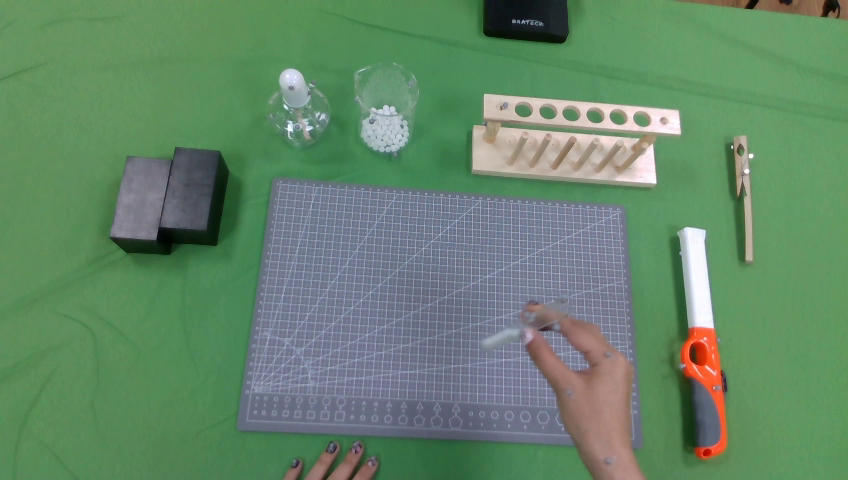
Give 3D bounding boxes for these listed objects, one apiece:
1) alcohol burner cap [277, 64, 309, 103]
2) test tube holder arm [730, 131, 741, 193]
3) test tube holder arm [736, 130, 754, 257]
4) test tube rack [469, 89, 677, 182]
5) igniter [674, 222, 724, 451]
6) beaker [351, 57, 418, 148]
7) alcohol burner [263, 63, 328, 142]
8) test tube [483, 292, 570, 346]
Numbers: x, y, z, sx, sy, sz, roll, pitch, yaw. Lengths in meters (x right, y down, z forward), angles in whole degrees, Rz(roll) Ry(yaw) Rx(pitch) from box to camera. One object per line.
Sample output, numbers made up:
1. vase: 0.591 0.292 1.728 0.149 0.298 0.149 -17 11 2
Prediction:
1. alcohol burner cap: -0.151 -0.181 0.691 0.034 0.048 0.033 1 76 -3
2. test tube holder arm: 0.422 -0.106 0.818 0.010 0.015 0.087 -6 69 29
3. test tube holder arm: 0.424 -0.064 0.801 0.013 0.015 0.177 -8 68 28
4. test tube rack: 0.184 -0.129 0.764 0.243 0.085 0.066 4 70 -5
5. igniter: 0.329 0.109 0.729 0.057 0.025 0.274 8 70 -14
6. beaker: -0.052 -0.165 0.743 0.084 0.101 0.074 31 70 6
7. alcohol burner: -0.155 -0.169 0.725 0.078 0.119 0.077 2 69 -5
8. test tube: 0.088 0.075 0.551 0.017 0.150 0.017 7 67 -17
